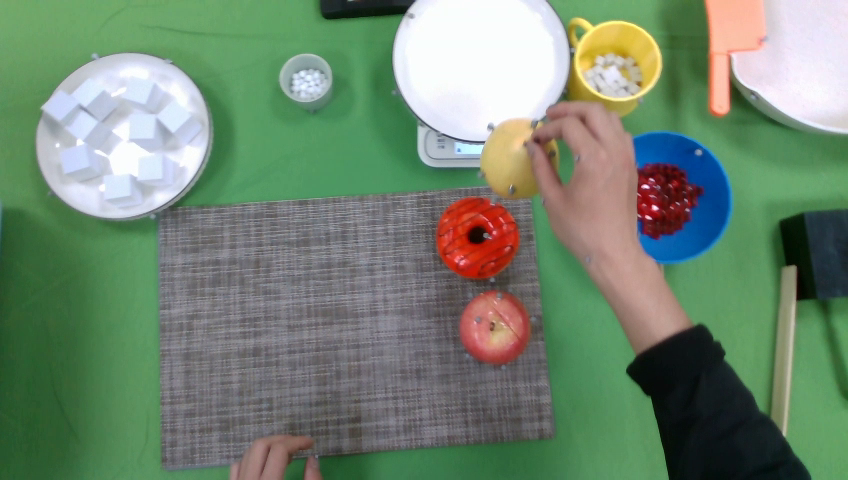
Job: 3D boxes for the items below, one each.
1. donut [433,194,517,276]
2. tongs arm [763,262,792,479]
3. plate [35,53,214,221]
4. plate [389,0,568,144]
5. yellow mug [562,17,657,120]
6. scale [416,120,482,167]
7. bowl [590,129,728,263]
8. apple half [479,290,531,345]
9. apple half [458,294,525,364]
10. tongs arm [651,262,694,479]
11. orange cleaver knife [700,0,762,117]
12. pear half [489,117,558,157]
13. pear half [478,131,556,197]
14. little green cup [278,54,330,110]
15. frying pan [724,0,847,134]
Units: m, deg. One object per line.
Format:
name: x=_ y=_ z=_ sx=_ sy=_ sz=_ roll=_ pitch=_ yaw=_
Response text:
donut: x=0.059 y=-0.006 z=0.709 sx=0.099 sy=0.048 sz=0.098 roll=0 pitch=83 yaw=2
tongs arm: x=0.394 y=0.215 z=0.692 sx=0.028 sy=0.028 sz=0.386 roll=12 pitch=81 yaw=-8
plate: x=-0.354 y=-0.122 z=0.732 sx=0.208 sy=0.039 sz=0.207 roll=0 pitch=81 yaw=0
plate: x=0.063 y=-0.211 z=0.717 sx=0.209 sy=0.038 sz=0.208 roll=0 pitch=81 yaw=-1
yellow mug: x=0.212 y=-0.216 z=0.733 sx=0.100 sy=0.064 sz=0.130 roll=-36 pitch=82 yaw=-5
scale: x=0.064 y=-0.191 z=0.747 sx=0.149 sy=0.031 sz=0.200 roll=0 pitch=82 yaw=0
bowl: x=0.260 y=-0.044 z=0.703 sx=0.151 sy=0.077 sz=0.151 roll=0 pitch=83 yaw=0
apple half: x=0.097 y=0.080 z=0.680 sx=0.033 sy=0.081 sz=0.081 roll=-42 pitch=83 yaw=-2
apple half: x=0.068 y=0.106 z=0.677 sx=0.053 sy=0.075 sz=0.080 roll=-40 pitch=86 yaw=-3
tongs arm: x=0.308 y=0.212 z=0.686 sx=0.051 sy=0.026 sz=0.383 roll=-4 pitch=82 yaw=-7
orange cleaver knife: x=0.351 y=-0.245 z=0.701 sx=0.077 sy=0.012 sz=0.210 roll=0 pitch=82 yaw=3
pear half: x=0.100 y=-0.104 z=0.593 sx=0.070 sy=0.088 sz=0.031 roll=15 pitch=84 yaw=0
pear half: x=0.089 y=-0.072 z=0.580 sx=0.076 sy=0.110 sz=0.056 roll=17 pitch=82 yaw=2
little green cup: x=-0.144 y=-0.191 z=0.743 sx=0.061 sy=0.039 sz=0.061 roll=0 pitch=81 yaw=0
frying pan: x=0.540 y=-0.177 z=0.710 sx=0.307 sy=0.103 sz=0.485 roll=-31 pitch=75 yaw=-4
